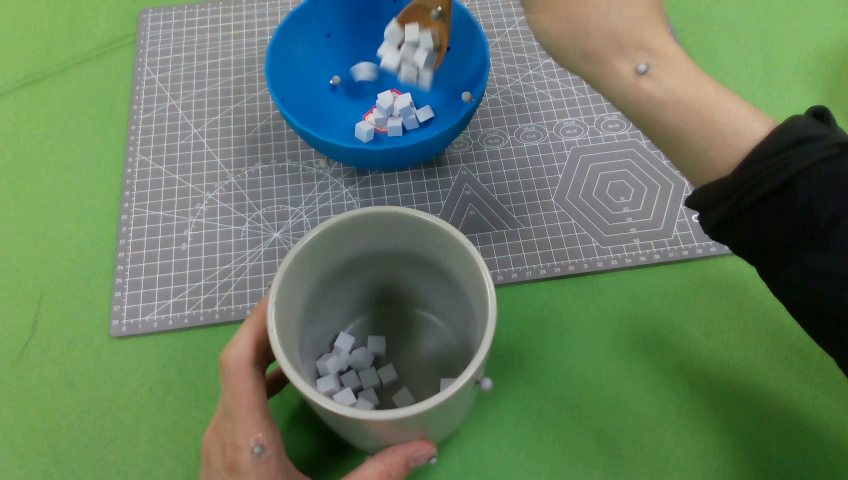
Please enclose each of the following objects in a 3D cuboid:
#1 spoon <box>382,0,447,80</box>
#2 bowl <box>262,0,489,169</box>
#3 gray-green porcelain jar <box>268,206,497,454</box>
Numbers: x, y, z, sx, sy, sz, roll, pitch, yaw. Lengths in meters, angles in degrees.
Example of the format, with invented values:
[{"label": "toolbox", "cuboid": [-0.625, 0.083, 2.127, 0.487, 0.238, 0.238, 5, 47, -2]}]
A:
[{"label": "spoon", "cuboid": [0.019, -0.160, 0.340, 0.041, 0.194, 0.021, 42, 57, 0]}, {"label": "bowl", "cuboid": [-0.031, -0.104, 0.434, 0.151, 0.077, 0.150, 0, 63, 1]}, {"label": "gray-green porcelain jar", "cuboid": [-0.018, 0.057, 0.331, 0.106, 0.127, 0.105, 0, 63, 1]}]
